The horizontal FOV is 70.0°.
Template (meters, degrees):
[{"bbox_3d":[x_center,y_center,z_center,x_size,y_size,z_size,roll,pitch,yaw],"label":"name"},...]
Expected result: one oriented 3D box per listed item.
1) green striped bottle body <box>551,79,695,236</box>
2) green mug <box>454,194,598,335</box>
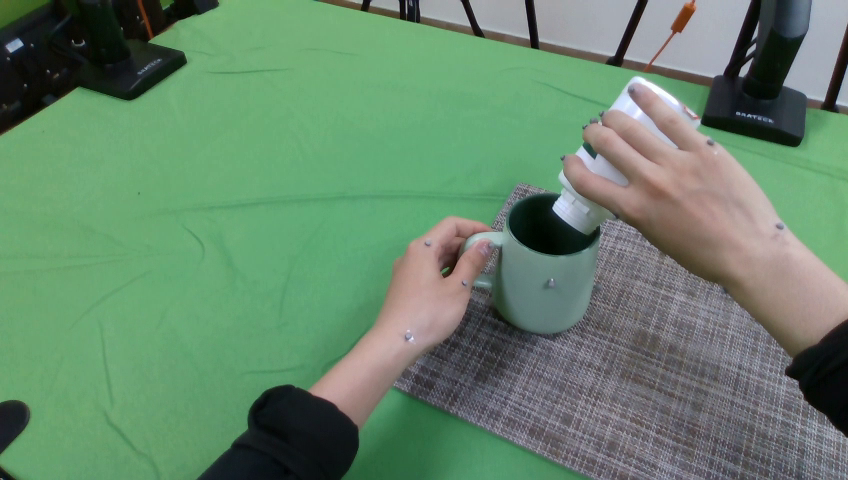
[{"bbox_3d":[0.152,-0.061,0.483,0.063,0.119,0.063,31,18,-11],"label":"green striped bottle body"},{"bbox_3d":[0.089,0.024,0.542,0.125,0.106,0.091,0,46,1],"label":"green mug"}]
